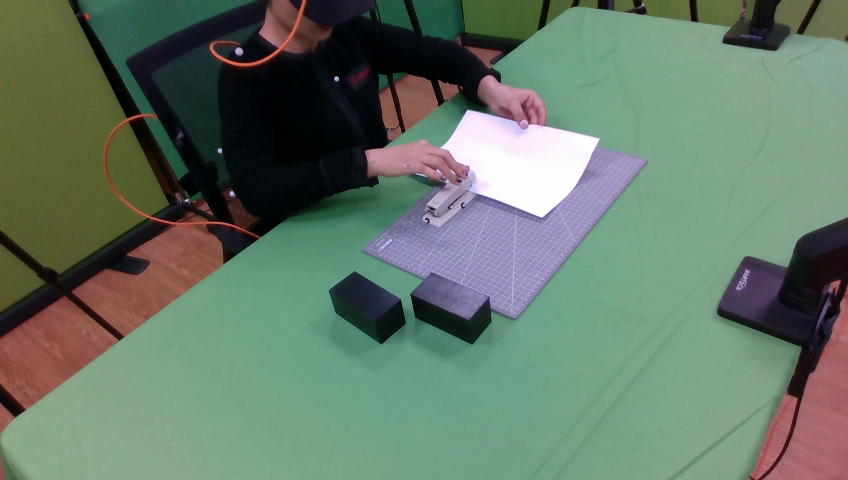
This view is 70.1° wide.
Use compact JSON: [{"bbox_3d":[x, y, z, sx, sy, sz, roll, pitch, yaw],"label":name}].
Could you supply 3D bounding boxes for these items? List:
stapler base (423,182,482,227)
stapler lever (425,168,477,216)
[{"bbox_3d":[0.051,-0.071,1.052,0.041,0.024,0.131,22,51,35],"label":"stapler base"},{"bbox_3d":[0.049,-0.084,1.039,0.026,0.040,0.118,22,44,35],"label":"stapler lever"}]
